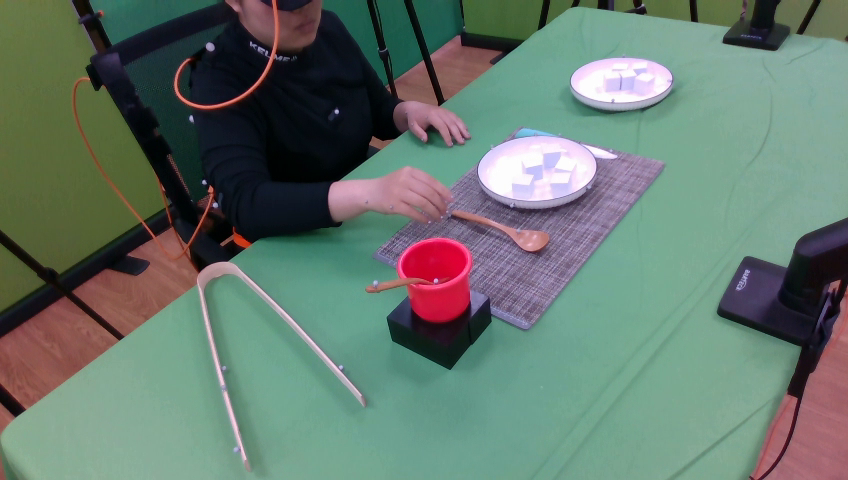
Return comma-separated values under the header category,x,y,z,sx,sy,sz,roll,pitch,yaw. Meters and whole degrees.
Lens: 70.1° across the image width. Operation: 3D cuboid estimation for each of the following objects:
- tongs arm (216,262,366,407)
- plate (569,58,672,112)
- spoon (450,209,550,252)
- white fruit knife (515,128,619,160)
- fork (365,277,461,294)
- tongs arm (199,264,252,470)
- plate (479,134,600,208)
category,x,y,z,sx,sy,sz,roll,pitch,yaw
tongs arm,-0.201,0.122,0.871,0.028,0.028,0.384,-36,46,-24
plate,0.411,-0.323,1.274,0.209,0.038,0.208,-5,41,5
spoon,0.119,-0.022,0.979,0.192,0.022,0.041,24,68,33
white fruit knife,0.269,-0.182,1.148,0.206,0.016,0.027,21,77,29
fork,-0.009,0.055,0.744,0.028,0.018,0.209,27,10,28
tongs arm,-0.270,0.154,0.841,0.051,0.026,0.381,-23,41,-17
plate,0.202,-0.117,1.065,0.207,0.039,0.206,-5,40,5
